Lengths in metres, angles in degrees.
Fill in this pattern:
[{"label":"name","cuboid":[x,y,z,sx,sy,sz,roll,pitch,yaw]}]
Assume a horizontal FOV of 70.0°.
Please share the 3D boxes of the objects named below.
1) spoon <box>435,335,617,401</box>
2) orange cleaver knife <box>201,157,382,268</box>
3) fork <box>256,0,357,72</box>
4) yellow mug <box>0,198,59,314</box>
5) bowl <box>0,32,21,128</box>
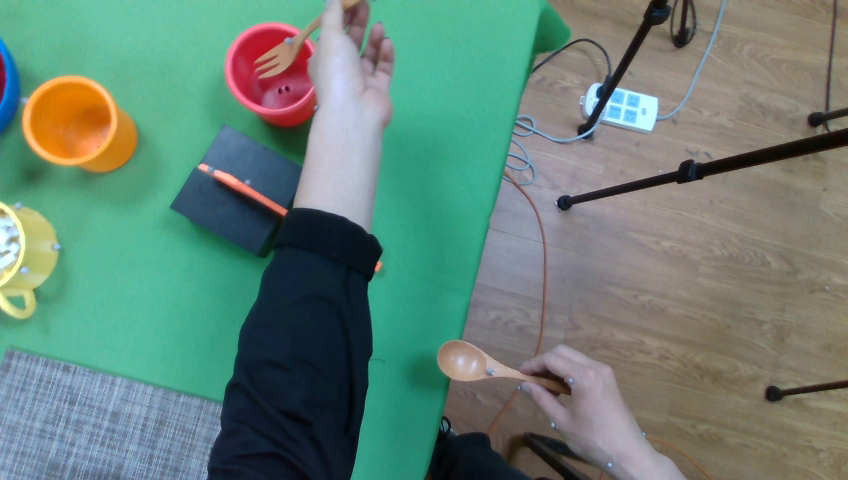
[{"label":"spoon","cuboid":[0.105,0.138,0.623,0.193,0.022,0.041,14,63,2]},{"label":"orange cleaver knife","cuboid":[-0.136,-0.027,0.642,0.213,0.076,0.012,34,84,-30]},{"label":"fork","cuboid":[-0.098,-0.206,0.571,0.019,0.206,0.028,-7,83,-46]},{"label":"yellow mug","cuboid":[-0.439,0.017,0.624,0.100,0.064,0.130,-26,89,-6]},{"label":"bowl","cuboid":[-0.485,-0.161,0.628,0.151,0.077,0.151,0,86,-5]}]
